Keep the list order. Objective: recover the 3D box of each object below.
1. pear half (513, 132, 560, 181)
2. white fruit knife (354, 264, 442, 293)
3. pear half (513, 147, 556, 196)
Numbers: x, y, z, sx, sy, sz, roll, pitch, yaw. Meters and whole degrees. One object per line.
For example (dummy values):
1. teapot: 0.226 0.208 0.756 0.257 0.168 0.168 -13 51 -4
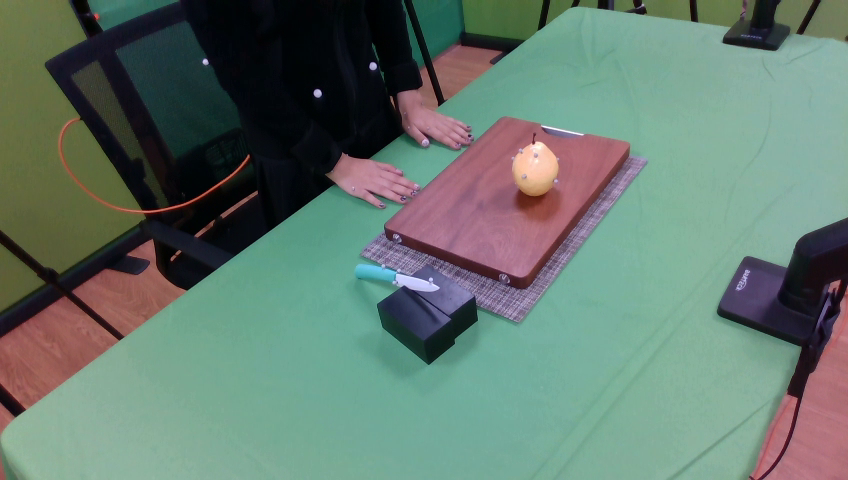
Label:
1. pear half: 0.186 -0.136 0.996 0.076 0.110 0.056 6 42 13
2. white fruit knife: -0.041 0.055 0.867 0.016 0.027 0.205 -31 23 -34
3. pear half: 0.178 -0.106 0.977 0.070 0.088 0.031 7 43 12
